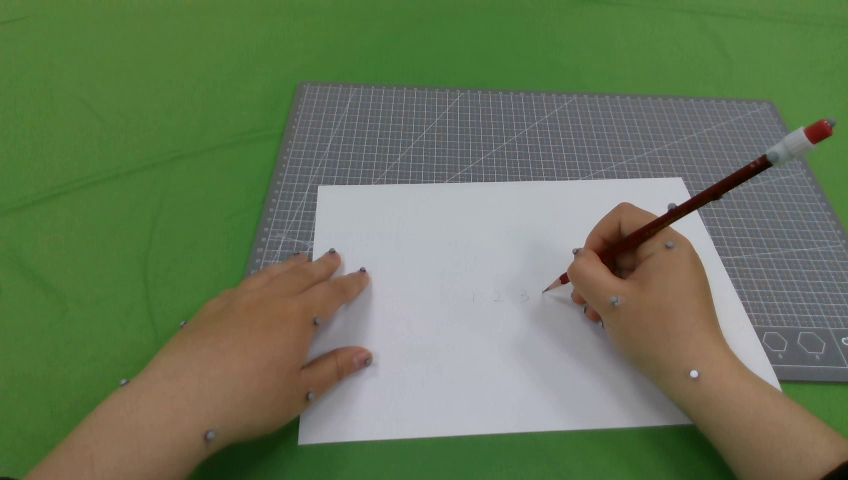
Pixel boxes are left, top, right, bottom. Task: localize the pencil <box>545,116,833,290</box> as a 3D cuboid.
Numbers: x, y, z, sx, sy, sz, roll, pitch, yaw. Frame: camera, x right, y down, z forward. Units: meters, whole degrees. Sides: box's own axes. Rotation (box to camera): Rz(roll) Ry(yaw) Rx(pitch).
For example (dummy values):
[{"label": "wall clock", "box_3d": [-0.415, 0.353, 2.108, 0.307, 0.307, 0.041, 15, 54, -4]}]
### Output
[{"label": "pencil", "box_3d": [0.136, -0.010, 0.350, 0.012, 0.194, 0.012, 19, 52, -27]}]
